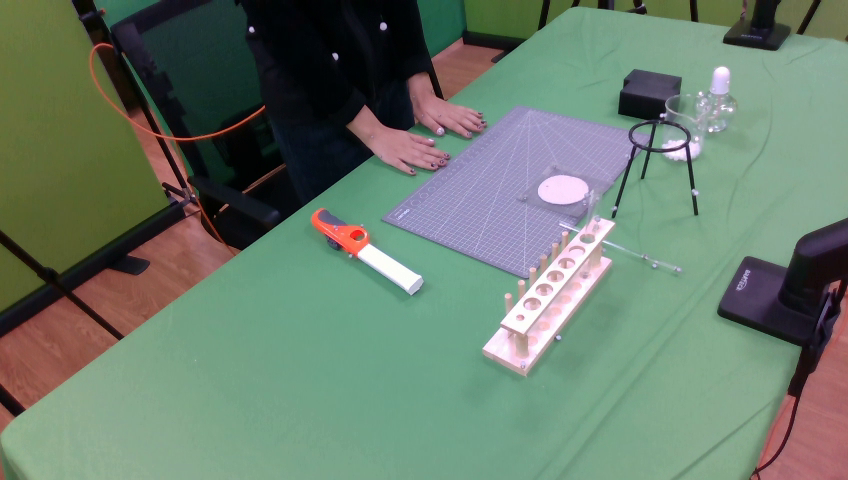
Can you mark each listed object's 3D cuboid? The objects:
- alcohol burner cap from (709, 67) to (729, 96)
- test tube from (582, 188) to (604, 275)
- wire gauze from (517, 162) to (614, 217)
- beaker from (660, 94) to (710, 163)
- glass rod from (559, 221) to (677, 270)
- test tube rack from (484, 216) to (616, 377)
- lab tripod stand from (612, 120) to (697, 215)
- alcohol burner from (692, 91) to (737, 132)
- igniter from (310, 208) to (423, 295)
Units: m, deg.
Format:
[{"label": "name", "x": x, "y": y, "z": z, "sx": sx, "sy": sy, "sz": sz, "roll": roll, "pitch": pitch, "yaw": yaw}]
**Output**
[{"label": "alcohol burner cap", "x": 0.535, "y": -0.288, "z": 1.094, "sx": 0.034, "sy": 0.048, "sz": 0.033, "roll": -8, "pitch": 42, "yaw": 8}, {"label": "test tube", "x": 0.228, "y": -0.007, "z": 0.821, "sx": 0.017, "sy": 0.151, "sz": 0.017, "roll": -3, "pitch": 42, "yaw": 3}, {"label": "wire gauze", "x": 0.245, "y": -0.088, "z": 1.046, "sx": 0.120, "sy": 0.011, "sz": 0.125, "roll": 25, "pitch": 50, "yaw": 32}, {"label": "beaker", "x": 0.457, "y": -0.192, "z": 1.063, "sx": 0.074, "sy": 0.101, "sz": 0.083, "roll": -7, "pitch": 41, "yaw": 4}, {"label": "glass rod", "x": 0.292, "y": 0.007, "z": 0.927, "sx": 0.198, "sy": 0.008, "sz": 0.008, "roll": 26, "pitch": 52, "yaw": 36}, {"label": "test tube rack", "x": 0.174, "y": 0.064, "z": 0.823, "sx": 0.066, "sy": 0.085, "sz": 0.243, "roll": 23, "pitch": 49, "yaw": 33}, {"label": "lab tripod stand", "x": 0.369, "y": -0.112, "z": 0.958, "sx": 0.148, "sy": 0.132, "sz": 0.147, "roll": -4, "pitch": 40, "yaw": 4}, {"label": "alcohol burner", "x": 0.541, "y": -0.262, "z": 1.118, "sx": 0.078, "sy": 0.119, "sz": 0.077, "roll": -5, "pitch": 42, "yaw": 5}, {"label": "igniter", "x": -0.103, "y": 0.012, "z": 0.981, "sx": 0.057, "sy": 0.025, "sz": 0.274, "roll": -42, "pitch": 49, "yaw": -20}]
